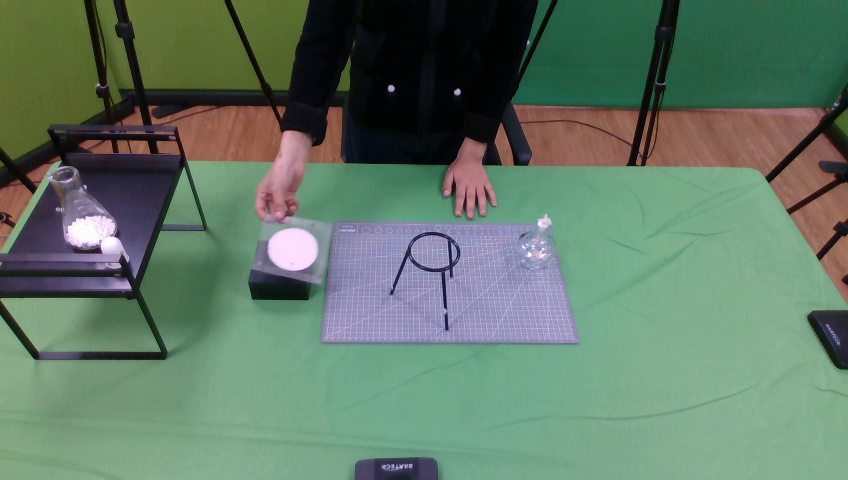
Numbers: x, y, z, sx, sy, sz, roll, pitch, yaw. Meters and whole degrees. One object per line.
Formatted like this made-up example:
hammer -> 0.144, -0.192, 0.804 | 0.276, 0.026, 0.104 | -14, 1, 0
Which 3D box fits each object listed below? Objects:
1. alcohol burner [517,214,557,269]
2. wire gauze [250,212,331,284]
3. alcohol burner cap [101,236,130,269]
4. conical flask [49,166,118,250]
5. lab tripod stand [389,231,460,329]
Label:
alcohol burner -> 0.217, -0.002, 1.149 | 0.078, 0.120, 0.077 | 2, 44, -2
wire gauze -> -0.235, 0.012, 1.077 | 0.125, 0.011, 0.121 | 11, 60, -7
alcohol burner cap -> -0.452, 0.016, 0.883 | 0.034, 0.048, 0.033 | 2, 45, -2
conical flask -> -0.505, -0.051, 0.888 | 0.075, 0.122, 0.075 | 2, 46, -2
lab tripod stand -> 0.015, 0.063, 1.058 | 0.148, 0.132, 0.147 | 4, 46, -4
